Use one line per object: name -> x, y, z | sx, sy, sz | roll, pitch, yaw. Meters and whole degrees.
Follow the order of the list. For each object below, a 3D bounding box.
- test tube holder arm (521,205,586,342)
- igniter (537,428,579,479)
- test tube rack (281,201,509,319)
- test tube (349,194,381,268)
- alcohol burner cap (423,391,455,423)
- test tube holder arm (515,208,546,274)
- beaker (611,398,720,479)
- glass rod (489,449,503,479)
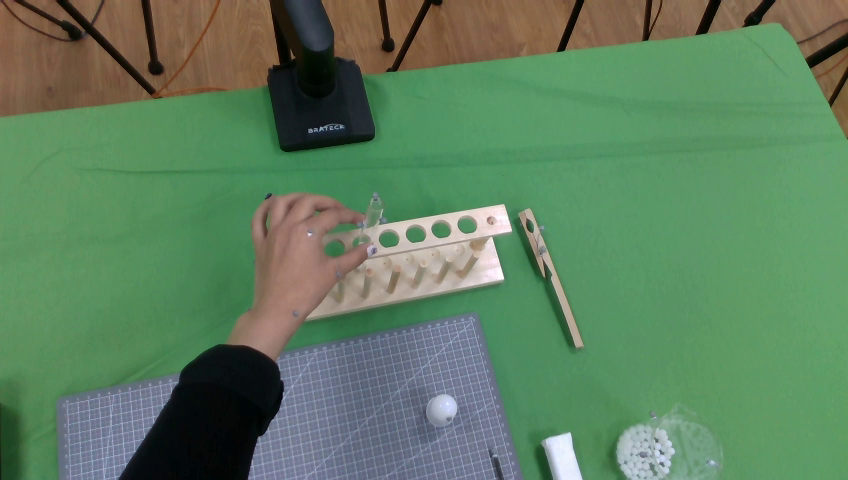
test tube holder arm -> 0.155, 0.039, 0.731 | 0.013, 0.015, 0.177 | -29, 72, 20
igniter -> 0.169, 0.334, 0.615 | 0.057, 0.025, 0.274 | -8, 71, -19
test tube rack -> -0.028, 0.023, 0.676 | 0.243, 0.085, 0.066 | -10, 70, -12
test tube -> -0.063, -0.005, 0.628 | 0.017, 0.151, 0.017 | 6, 64, -11
alcohol burner cap -> 0.018, 0.175, 0.644 | 0.034, 0.048, 0.033 | 3, 69, -7
test tube holder arm -> 0.134, 0.001, 0.745 | 0.010, 0.015, 0.087 | -27, 72, 20
beaker -> 0.246, 0.214, 0.634 | 0.074, 0.101, 0.083 | 3, 68, -7
glass rod -> 0.097, 0.315, 0.619 | 0.008, 0.008, 0.198 | -11, 71, -13
